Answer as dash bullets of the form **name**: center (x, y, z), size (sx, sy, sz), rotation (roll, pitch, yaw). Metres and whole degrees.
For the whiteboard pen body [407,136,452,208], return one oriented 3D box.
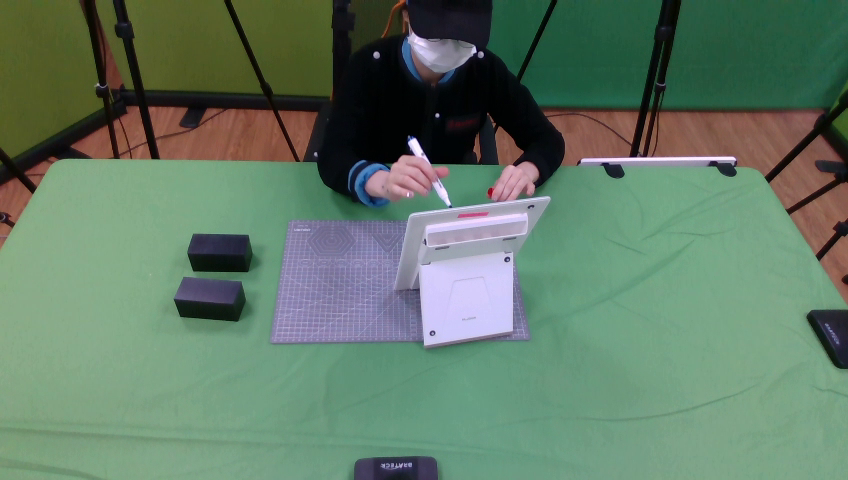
- **whiteboard pen body**: center (0.011, -0.110, 1.005), size (0.017, 0.017, 0.140), rotation (-27, 83, -27)

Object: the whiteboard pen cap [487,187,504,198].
- **whiteboard pen cap**: center (0.138, -0.092, 1.165), size (0.032, 0.017, 0.017), rotation (15, 36, -37)

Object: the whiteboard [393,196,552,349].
- **whiteboard**: center (0.077, 0.071, 0.977), size (0.217, 0.306, 0.143), rotation (-7, 66, -11)
